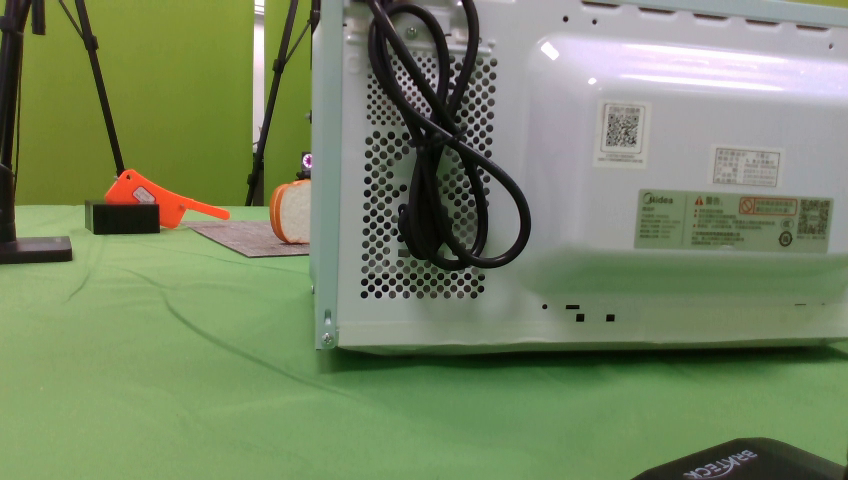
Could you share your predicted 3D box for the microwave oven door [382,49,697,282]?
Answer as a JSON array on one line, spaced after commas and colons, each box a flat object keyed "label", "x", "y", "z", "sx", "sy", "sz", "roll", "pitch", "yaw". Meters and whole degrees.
[{"label": "microwave oven door", "x": 0.135, "y": -0.077, "z": 0.685, "sx": 0.357, "sy": 0.243, "sz": 0.039, "roll": 1, "pitch": 8, "yaw": -12}]

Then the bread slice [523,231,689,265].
[{"label": "bread slice", "x": 0.174, "y": 0.006, "z": 0.565, "sx": 0.134, "sy": 0.018, "sz": 0.107, "roll": -6, "pitch": 2, "yaw": 30}]

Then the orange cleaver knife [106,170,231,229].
[{"label": "orange cleaver knife", "x": -0.458, "y": -0.060, "z": 1.097, "sx": 0.212, "sy": 0.077, "sz": 0.012, "roll": 23, "pitch": -4, "yaw": -38}]

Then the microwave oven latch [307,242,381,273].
[{"label": "microwave oven latch", "x": -0.086, "y": 0.019, "z": 0.656, "sx": 0.079, "sy": 0.029, "sz": 0.030, "roll": 2, "pitch": 7, "yaw": -10}]

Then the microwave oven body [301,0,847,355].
[{"label": "microwave oven body", "x": 0.120, "y": -0.053, "z": 0.535, "sx": 0.443, "sy": 0.260, "sz": 0.325, "roll": 2, "pitch": 7, "yaw": -11}]

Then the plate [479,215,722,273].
[{"label": "plate", "x": 0.154, "y": 0.001, "z": 0.545, "sx": 0.208, "sy": 0.039, "sz": 0.207, "roll": -1, "pitch": 5, "yaw": 0}]
